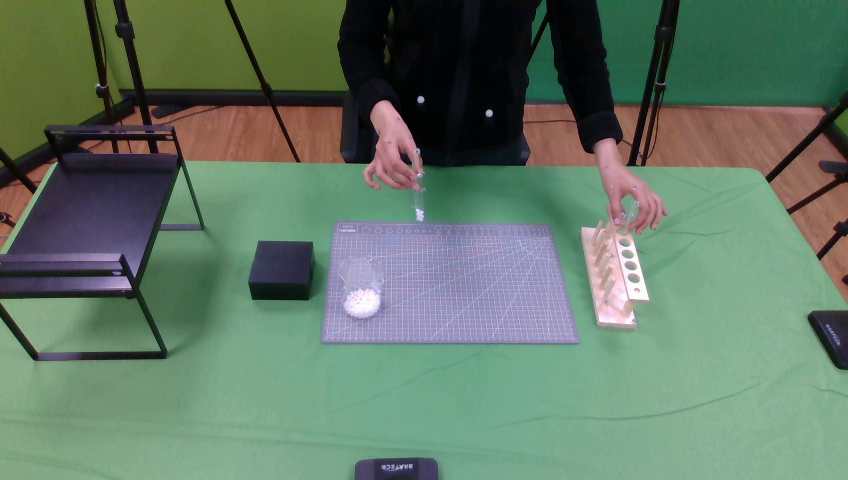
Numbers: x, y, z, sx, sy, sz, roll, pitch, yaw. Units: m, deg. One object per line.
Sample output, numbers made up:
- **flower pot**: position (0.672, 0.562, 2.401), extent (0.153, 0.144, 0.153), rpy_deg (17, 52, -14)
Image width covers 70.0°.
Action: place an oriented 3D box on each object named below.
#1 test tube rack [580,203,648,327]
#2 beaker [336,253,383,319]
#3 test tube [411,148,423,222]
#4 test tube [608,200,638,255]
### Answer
- **test tube rack**: position (0.352, 0.041, 1.143), extent (0.067, 0.085, 0.241), rpy_deg (3, 46, 0)
- **beaker**: position (-0.108, 0.084, 1.052), extent (0.084, 0.101, 0.074), rpy_deg (25, 50, 17)
- **test tube**: position (-0.011, -0.093, 1.053), extent (0.017, 0.151, 0.017), rpy_deg (-2, 40, 2)
- **test tube**: position (0.370, -0.020, 1.134), extent (0.017, 0.151, 0.017), rpy_deg (2, 52, -2)
